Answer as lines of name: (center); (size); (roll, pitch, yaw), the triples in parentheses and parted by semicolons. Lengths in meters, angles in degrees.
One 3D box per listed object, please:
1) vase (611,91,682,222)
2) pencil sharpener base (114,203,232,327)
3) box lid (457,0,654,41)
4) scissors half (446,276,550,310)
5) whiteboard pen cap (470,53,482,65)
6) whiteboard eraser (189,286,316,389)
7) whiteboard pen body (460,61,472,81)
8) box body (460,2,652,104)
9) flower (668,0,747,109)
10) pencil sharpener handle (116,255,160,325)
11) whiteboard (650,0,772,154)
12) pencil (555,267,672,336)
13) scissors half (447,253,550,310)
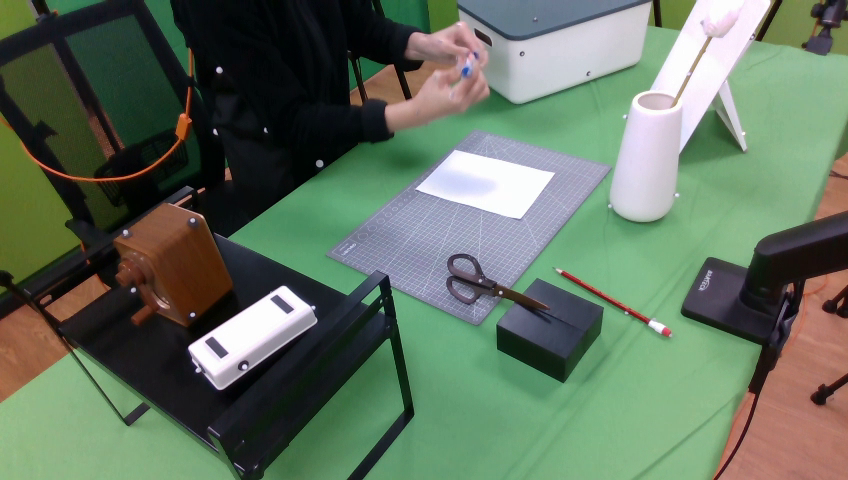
vase: (0.348, -0.125, 0.935); (0.098, 0.201, 0.097); (-3, 40, 3)
pencil sharpener base: (-0.262, 0.029, 0.635); (0.061, 0.107, 0.077); (18, 47, 26)
box lid: (0.285, -0.522, 1.323); (0.373, 0.015, 0.261); (-22, 43, -16)
scissors half: (0.097, 0.077, 0.826); (0.174, 0.040, 0.013); (6, 13, 44)
whiteboard pen cap: (0.090, -0.315, 1.050); (0.018, 0.018, 0.033); (-10, 7, -4)
whiteboard eraser: (-0.166, 0.096, 0.593); (0.113, 0.042, 0.055); (-36, 47, -29)
whiteboard pen body: (0.062, -0.250, 0.884); (0.017, 0.017, 0.140); (-2, 22, 6)
box body: (0.291, -0.465, 1.371); (0.365, 0.161, 0.252); (-22, 42, -16)
flower: (0.354, -0.187, 0.879); (0.038, 0.362, 0.044); (31, 48, 14)
pencil sharpener handle: (-0.286, 0.050, 0.594); (0.035, 0.068, 0.031); (7, 41, 35)
whiteboard: (0.543, -0.298, 1.076); (0.144, 0.305, 0.216); (12, 40, -7)
pencil: (0.260, 0.082, 0.850); (0.012, 0.012, 0.192); (-33, 46, -27)
scissors half: (0.098, 0.058, 0.821); (0.173, 0.040, 0.013); (27, 33, 37)
